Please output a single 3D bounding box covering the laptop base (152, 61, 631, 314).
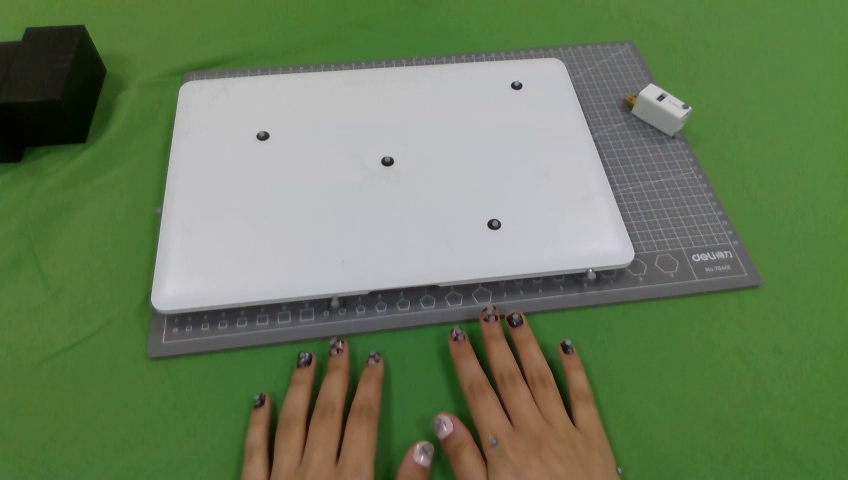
[{"bbox_3d":[-0.031,-0.056,0.507,0.355,0.023,0.233,-5,58,-6],"label":"laptop base"}]

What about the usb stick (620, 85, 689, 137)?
[{"bbox_3d":[0.208,-0.121,0.553,0.021,0.027,0.058,-38,62,-25],"label":"usb stick"}]

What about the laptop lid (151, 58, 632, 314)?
[{"bbox_3d":[-0.030,-0.061,0.496,0.357,0.013,0.239,-4,57,-5],"label":"laptop lid"}]
